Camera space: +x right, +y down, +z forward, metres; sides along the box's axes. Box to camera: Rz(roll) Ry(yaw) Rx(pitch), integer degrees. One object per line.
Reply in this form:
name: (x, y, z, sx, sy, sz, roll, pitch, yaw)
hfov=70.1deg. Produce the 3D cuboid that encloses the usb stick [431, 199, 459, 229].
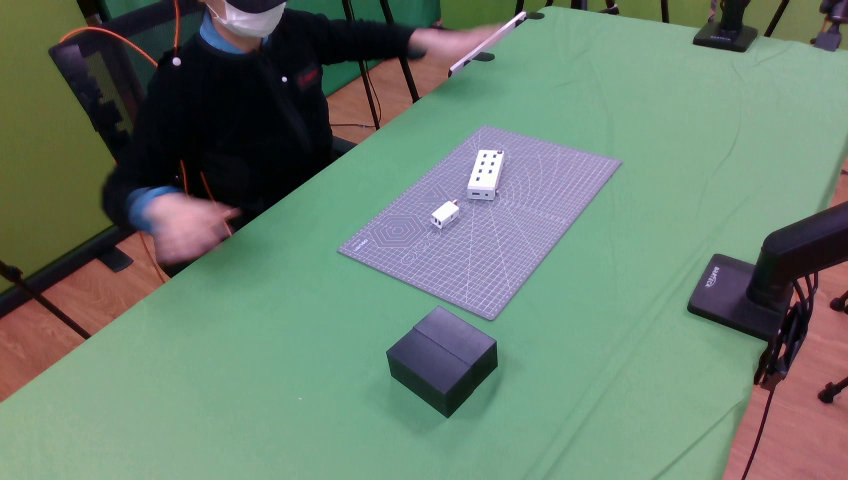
usb stick: (0.039, -0.046, 1.009, 0.027, 0.021, 0.059, 34, 56, 24)

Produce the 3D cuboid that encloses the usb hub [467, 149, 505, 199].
usb hub: (0.112, -0.119, 1.084, 0.049, 0.025, 0.125, 6, 42, 14)
